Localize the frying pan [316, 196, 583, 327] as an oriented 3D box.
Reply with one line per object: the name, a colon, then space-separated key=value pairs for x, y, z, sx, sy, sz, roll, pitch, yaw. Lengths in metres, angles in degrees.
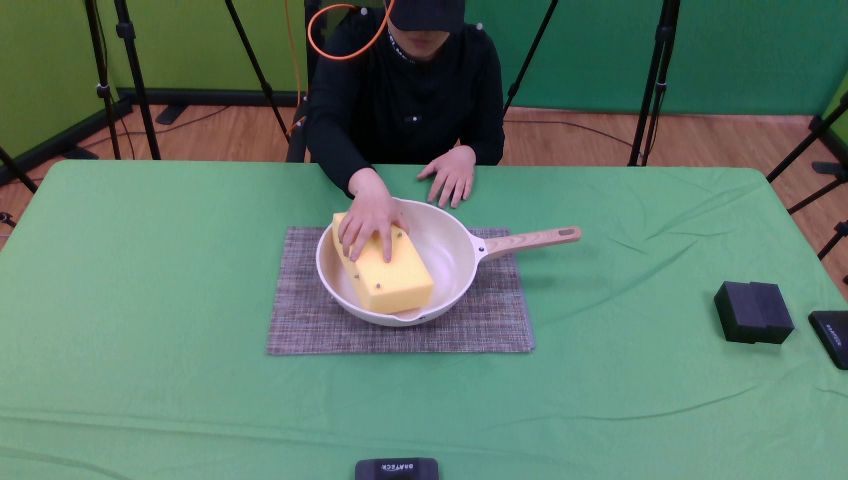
frying pan: x=0.054 y=0.027 z=1.114 sx=0.488 sy=0.103 sz=0.304 roll=-9 pitch=48 yaw=-1

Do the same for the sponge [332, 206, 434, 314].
sponge: x=-0.080 y=0.033 z=1.089 sx=0.118 sy=0.061 sz=0.205 roll=-11 pitch=49 yaw=-24
